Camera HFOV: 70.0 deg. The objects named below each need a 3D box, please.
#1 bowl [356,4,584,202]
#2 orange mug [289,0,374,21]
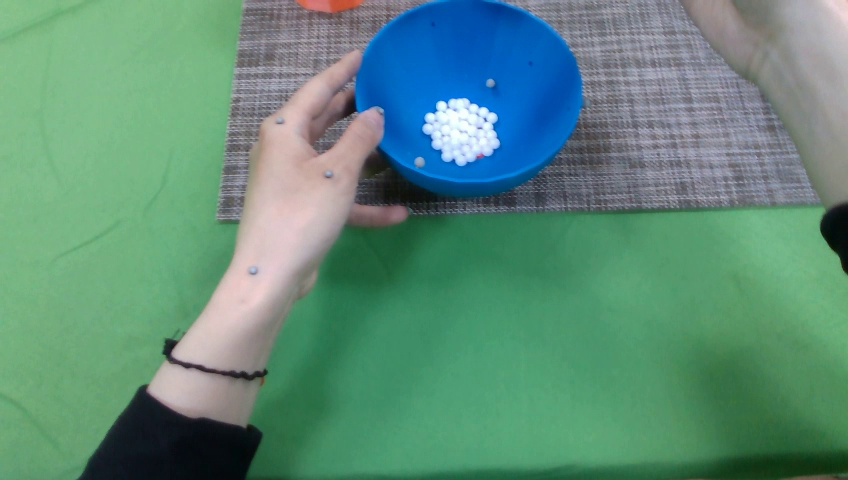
[{"bbox_3d":[0.031,-0.083,0.433,0.151,0.077,0.150,0,65,1],"label":"bowl"},{"bbox_3d":[-0.080,-0.266,0.505,0.083,0.101,0.125,10,70,6],"label":"orange mug"}]
